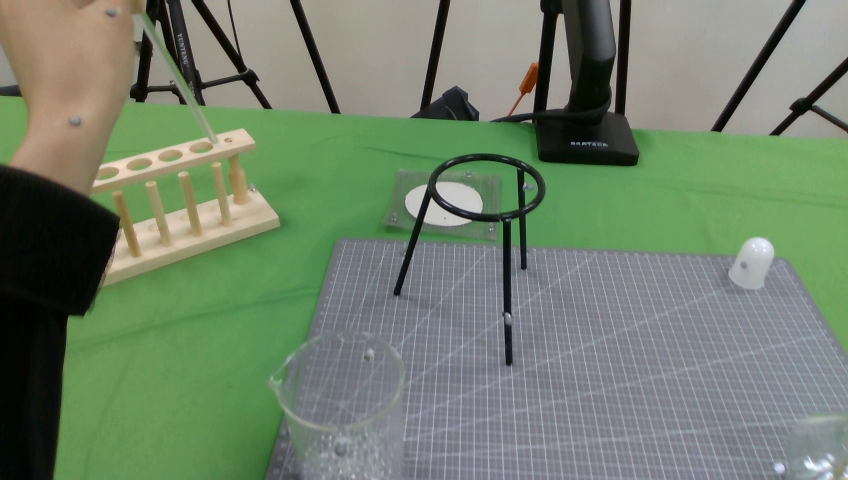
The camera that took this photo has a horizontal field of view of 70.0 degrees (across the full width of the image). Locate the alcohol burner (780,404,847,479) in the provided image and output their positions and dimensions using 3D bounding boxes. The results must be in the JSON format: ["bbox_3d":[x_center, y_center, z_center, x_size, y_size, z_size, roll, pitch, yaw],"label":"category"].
[{"bbox_3d":[0.268,0.125,0.370,0.078,0.120,0.077,1,37,0],"label":"alcohol burner"}]

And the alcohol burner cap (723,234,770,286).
[{"bbox_3d":[0.303,0.016,0.565,0.034,0.048,0.033,1,39,0],"label":"alcohol burner cap"}]

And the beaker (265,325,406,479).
[{"bbox_3d":[-0.052,0.115,0.386,0.084,0.101,0.073,1,39,1],"label":"beaker"}]

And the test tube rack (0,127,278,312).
[{"bbox_3d":[-0.271,-0.026,0.574,0.243,0.086,0.066,-22,44,-26],"label":"test tube rack"}]

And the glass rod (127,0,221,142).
[{"bbox_3d":[-0.175,-0.135,0.387,0.008,0.202,0.008,-6,53,8],"label":"glass rod"}]

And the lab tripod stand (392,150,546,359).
[{"bbox_3d":[0.043,0.005,0.499,0.148,0.132,0.147,0,40,1],"label":"lab tripod stand"}]

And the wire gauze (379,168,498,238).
[{"bbox_3d":[0.019,-0.046,0.670,0.125,0.011,0.120,5,38,6],"label":"wire gauze"}]
